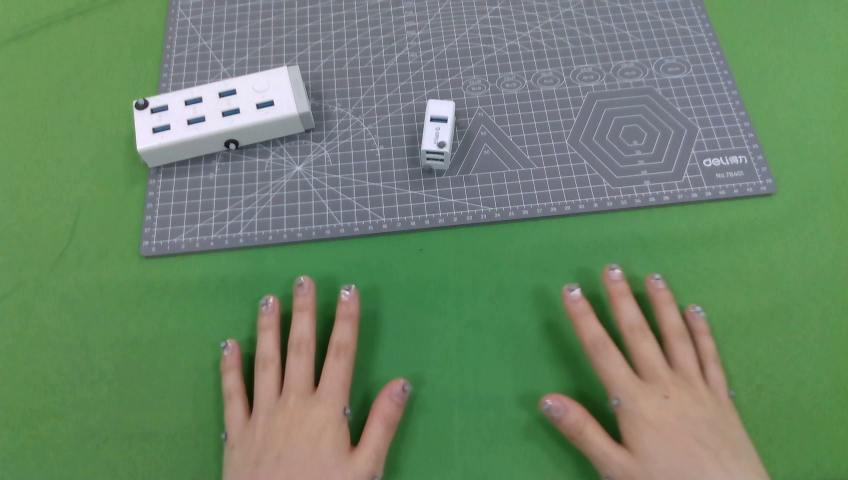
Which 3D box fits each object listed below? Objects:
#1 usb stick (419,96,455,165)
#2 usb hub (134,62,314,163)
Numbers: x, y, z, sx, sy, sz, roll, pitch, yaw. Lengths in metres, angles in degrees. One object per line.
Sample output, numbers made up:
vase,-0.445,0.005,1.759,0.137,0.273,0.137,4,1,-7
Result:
usb stick,0.011,-0.086,0.445,0.021,0.027,0.058,5,62,6
usb hub,-0.149,-0.097,0.454,0.125,0.025,0.049,-14,65,-6
